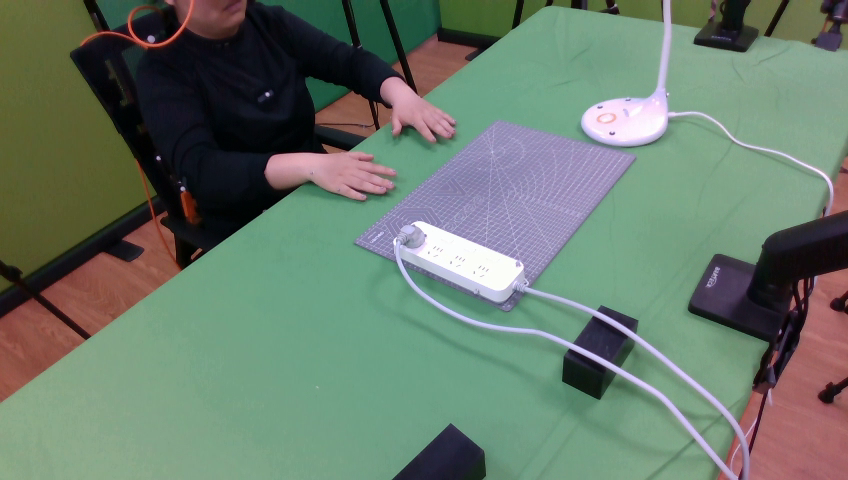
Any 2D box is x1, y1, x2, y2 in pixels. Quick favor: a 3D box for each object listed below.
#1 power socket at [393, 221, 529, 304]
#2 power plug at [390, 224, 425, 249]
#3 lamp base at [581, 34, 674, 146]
[{"bbox_3d":[0.049,0.030,0.914,0.225,0.033,0.072,24,51,31],"label":"power socket"},{"bbox_3d":[-0.030,0.004,0.920,0.073,0.053,0.035,-34,47,-26],"label":"power plug"},{"bbox_3d":[0.392,-0.291,1.129,0.180,0.181,0.159,-11,41,-8],"label":"lamp base"}]
